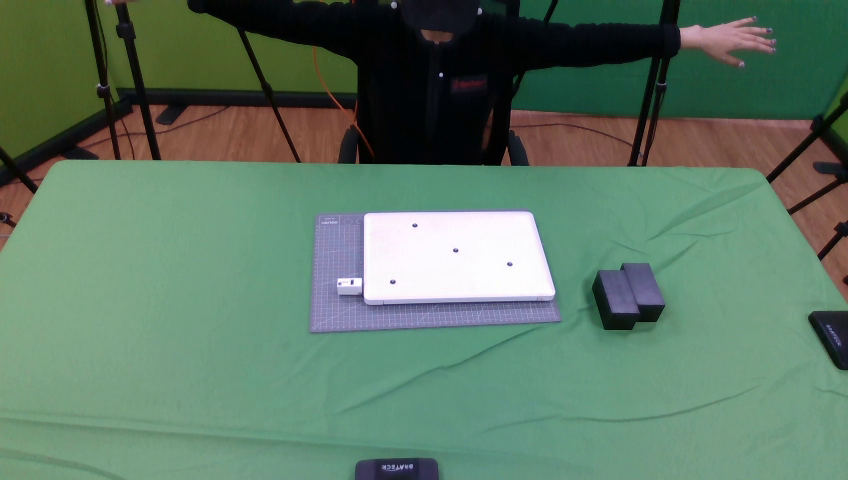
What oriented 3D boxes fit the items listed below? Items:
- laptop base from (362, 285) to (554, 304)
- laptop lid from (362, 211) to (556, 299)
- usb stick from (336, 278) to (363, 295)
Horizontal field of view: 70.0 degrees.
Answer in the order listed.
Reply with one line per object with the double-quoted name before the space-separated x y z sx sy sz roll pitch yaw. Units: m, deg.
"laptop base" 0.059 0.032 1.174 0.355 0.023 0.234 -1 43 -5
"laptop lid" 0.059 0.022 1.168 0.357 0.013 0.240 0 44 -4
"usb stick" -0.128 0.083 1.094 0.059 0.027 0.021 2 44 -5
